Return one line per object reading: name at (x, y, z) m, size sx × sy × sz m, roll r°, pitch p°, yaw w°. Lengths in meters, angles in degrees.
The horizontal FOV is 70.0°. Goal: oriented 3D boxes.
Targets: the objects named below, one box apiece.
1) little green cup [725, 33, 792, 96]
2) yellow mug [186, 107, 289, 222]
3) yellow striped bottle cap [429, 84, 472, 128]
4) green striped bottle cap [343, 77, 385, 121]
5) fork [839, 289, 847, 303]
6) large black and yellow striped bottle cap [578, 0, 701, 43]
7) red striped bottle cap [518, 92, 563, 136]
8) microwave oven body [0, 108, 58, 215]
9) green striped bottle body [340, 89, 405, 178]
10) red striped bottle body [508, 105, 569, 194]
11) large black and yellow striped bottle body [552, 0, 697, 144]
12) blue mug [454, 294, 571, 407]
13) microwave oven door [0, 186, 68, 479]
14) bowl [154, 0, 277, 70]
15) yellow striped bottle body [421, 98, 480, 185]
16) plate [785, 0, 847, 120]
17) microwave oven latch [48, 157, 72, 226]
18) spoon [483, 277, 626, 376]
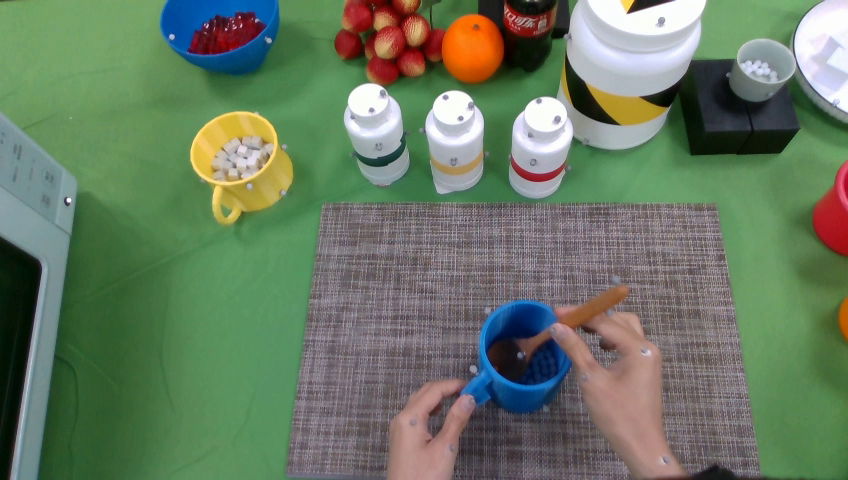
little green cup at (0.366, -0.191, 0.667) m, size 0.061 × 0.039 × 0.061 m, roll -1°, pitch 64°, yaw 2°
yellow mug at (-0.220, -0.083, 0.705) m, size 0.100 × 0.064 × 0.130 m, roll 9°, pitch 68°, yaw 9°
yellow striped bottle cap at (0.027, -0.138, 0.624) m, size 0.044 × 0.019 × 0.044 m, roll -1°, pitch 67°, yaw 4°
green striped bottle cap at (-0.063, -0.148, 0.634) m, size 0.044 × 0.020 × 0.044 m, roll 0°, pitch 66°, yaw 1°
fork at (0.473, 0.080, 0.533) m, size 0.028 × 0.019 × 0.205 m, roll -36°, pitch 24°, yaw -10°
large black and yellow striped bottle cap at (0.208, -0.240, 0.585) m, size 0.115 × 0.019 × 0.114 m, roll -2°, pitch 65°, yaw 4°
red striped bottle cap at (0.118, -0.128, 0.612) m, size 0.044 × 0.018 × 0.044 m, roll 0°, pitch 64°, yaw 1°
microwave oven body at (-0.564, 0.085, 0.545) m, size 0.326 × 0.262 × 0.438 m, roll -8°, pitch 66°, yaw 0°
green striped bottle body at (-0.057, -0.126, 0.682) m, size 0.063 × 0.120 × 0.062 m, roll -1°, pitch 65°, yaw 4°
red striped bottle body at (0.123, -0.106, 0.659) m, size 0.063 × 0.120 × 0.062 m, roll -3°, pitch 64°, yaw 6°
large black and yellow striped bottle body at (0.215, -0.206, 0.662) m, size 0.131 × 0.185 × 0.129 m, roll -2°, pitch 66°, yaw 4°
blue mug at (0.076, 0.116, 0.568) m, size 0.116 × 0.106 × 0.081 m, roll -34°, pitch 67°, yaw -10°
microwave oven door at (-0.415, 0.101, 0.521) m, size 0.039 × 0.246 × 0.352 m, roll -8°, pitch 65°, yaw 1°
bowl at (-0.257, -0.277, 0.788) m, size 0.151 × 0.077 × 0.150 m, roll -1°, pitch 66°, yaw 3°
yellow striped bottle body at (0.031, -0.117, 0.671) m, size 0.063 × 0.121 × 0.062 m, roll -2°, pitch 65°, yaw 5°
plate at (0.536, -0.217, 0.722) m, size 0.209 × 0.038 × 0.207 m, roll -1°, pitch 66°, yaw 4°
microwave oven latch at (-0.432, -0.055, 0.703) m, size 0.030 × 0.030 × 0.078 m, roll -7°, pitch 66°, yaw 1°
spoon at (0.106, 0.078, 0.527) m, size 0.022 × 0.194 × 0.041 m, roll -9°, pitch 68°, yaw -31°
